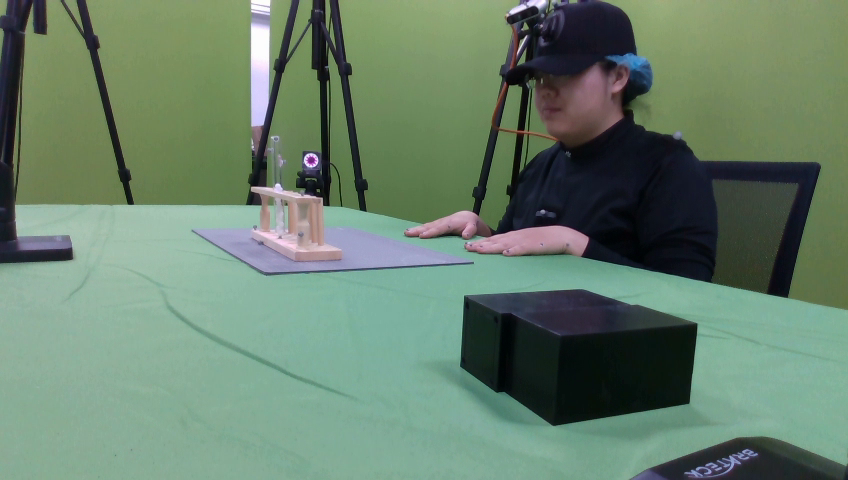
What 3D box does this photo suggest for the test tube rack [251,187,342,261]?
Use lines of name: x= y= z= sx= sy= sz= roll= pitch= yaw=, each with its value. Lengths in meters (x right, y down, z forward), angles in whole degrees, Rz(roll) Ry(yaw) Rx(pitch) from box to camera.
test tube rack: x=-0.196 y=-0.030 z=0.902 sx=0.067 sy=0.085 sz=0.241 roll=-1 pitch=8 yaw=-29

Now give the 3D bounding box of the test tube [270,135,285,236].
test tube: x=-0.218 y=-0.081 z=0.904 sx=0.017 sy=0.150 sz=0.017 roll=-2 pitch=4 yaw=0
